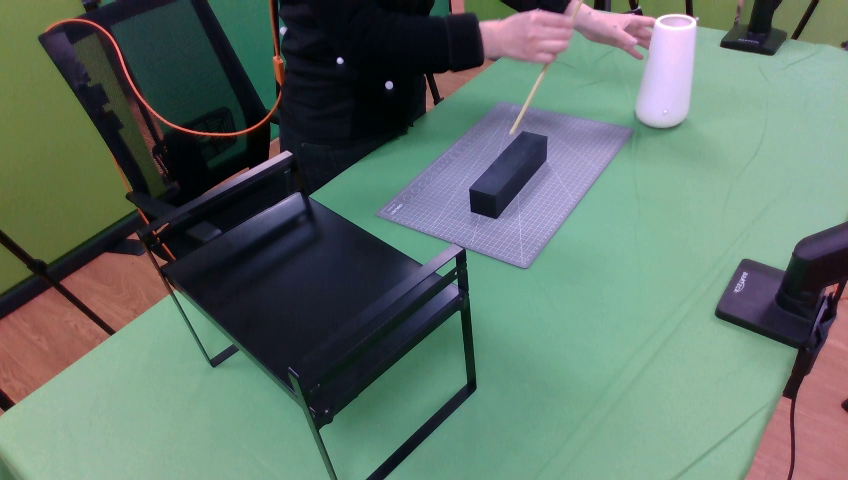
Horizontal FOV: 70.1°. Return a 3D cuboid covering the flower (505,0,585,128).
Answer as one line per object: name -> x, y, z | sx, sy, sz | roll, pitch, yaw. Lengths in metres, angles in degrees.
flower -> 0.223, -0.332, 0.932 | 0.044, 0.361, 0.038 | 31, 11, 1

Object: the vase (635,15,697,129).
vase -> 0.456, -0.310, 1.133 | 0.098, 0.201, 0.097 | -4, 42, 4
